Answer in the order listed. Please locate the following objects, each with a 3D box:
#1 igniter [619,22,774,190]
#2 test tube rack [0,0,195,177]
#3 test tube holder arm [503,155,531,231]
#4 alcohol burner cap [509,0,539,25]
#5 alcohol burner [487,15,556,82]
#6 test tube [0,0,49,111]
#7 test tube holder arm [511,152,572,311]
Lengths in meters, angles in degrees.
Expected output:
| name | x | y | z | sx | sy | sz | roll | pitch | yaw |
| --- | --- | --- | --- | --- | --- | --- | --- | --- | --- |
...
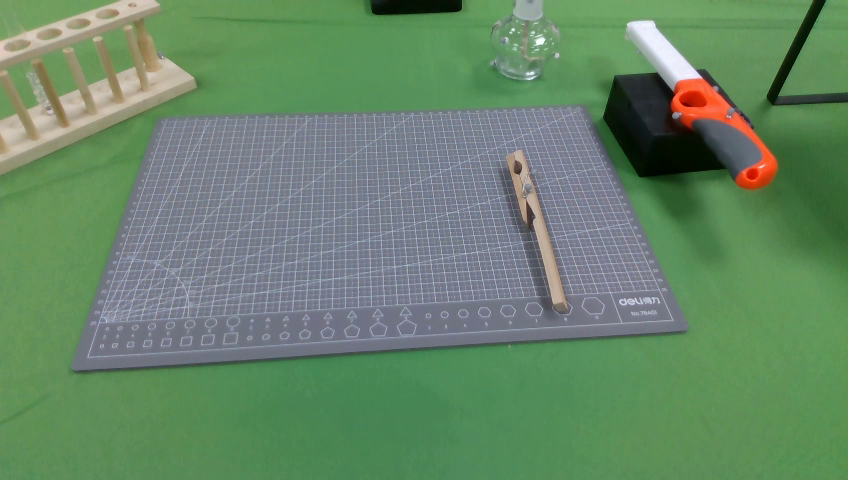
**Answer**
| name | x | y | z | sx | sy | sz | roll | pitch | yaw |
| --- | --- | --- | --- | --- | --- | --- | --- | --- | --- |
| igniter | 0.252 | -0.139 | 0.579 | 0.057 | 0.025 | 0.273 | -7 | 45 | -5 |
| test tube rack | -0.356 | -0.147 | 0.587 | 0.066 | 0.086 | 0.242 | 36 | 55 | 27 |
| test tube holder arm | 0.087 | -0.044 | 0.553 | 0.010 | 0.015 | 0.087 | -28 | 45 | 20 |
| alcohol burner cap | 0.110 | -0.260 | 0.649 | 0.034 | 0.048 | 0.033 | 1 | 47 | 0 |
| alcohol burner | 0.110 | -0.239 | 0.673 | 0.078 | 0.120 | 0.077 | 1 | 49 | -1 |
| test tube | -0.375 | -0.185 | 0.554 | 0.017 | 0.151 | 0.017 | 3 | 44 | -2 |
| test tube holder arm | 0.098 | -0.014 | 0.521 | 0.013 | 0.015 | 0.176 | -29 | 45 | 20 |
